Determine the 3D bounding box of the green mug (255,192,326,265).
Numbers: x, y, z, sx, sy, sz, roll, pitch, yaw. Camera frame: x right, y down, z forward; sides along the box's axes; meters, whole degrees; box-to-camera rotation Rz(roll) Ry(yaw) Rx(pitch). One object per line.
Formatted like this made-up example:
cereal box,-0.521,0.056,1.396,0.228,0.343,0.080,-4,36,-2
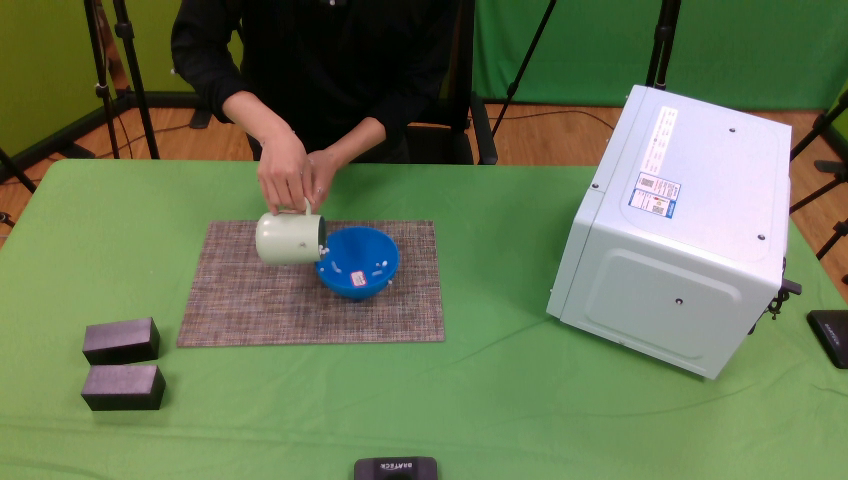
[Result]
green mug,-0.227,-0.020,1.028,0.105,0.125,0.092,-1,17,2

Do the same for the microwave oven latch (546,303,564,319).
microwave oven latch,0.242,0.102,1.081,0.030,0.029,0.079,22,48,17

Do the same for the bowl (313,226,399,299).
bowl,-0.121,0.054,1.091,0.151,0.077,0.150,2,47,-2

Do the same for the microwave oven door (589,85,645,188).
microwave oven door,0.342,-0.107,1.149,0.039,0.245,0.354,20,48,15

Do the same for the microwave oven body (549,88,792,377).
microwave oven body,0.456,-0.028,1.088,0.325,0.261,0.440,20,47,16
